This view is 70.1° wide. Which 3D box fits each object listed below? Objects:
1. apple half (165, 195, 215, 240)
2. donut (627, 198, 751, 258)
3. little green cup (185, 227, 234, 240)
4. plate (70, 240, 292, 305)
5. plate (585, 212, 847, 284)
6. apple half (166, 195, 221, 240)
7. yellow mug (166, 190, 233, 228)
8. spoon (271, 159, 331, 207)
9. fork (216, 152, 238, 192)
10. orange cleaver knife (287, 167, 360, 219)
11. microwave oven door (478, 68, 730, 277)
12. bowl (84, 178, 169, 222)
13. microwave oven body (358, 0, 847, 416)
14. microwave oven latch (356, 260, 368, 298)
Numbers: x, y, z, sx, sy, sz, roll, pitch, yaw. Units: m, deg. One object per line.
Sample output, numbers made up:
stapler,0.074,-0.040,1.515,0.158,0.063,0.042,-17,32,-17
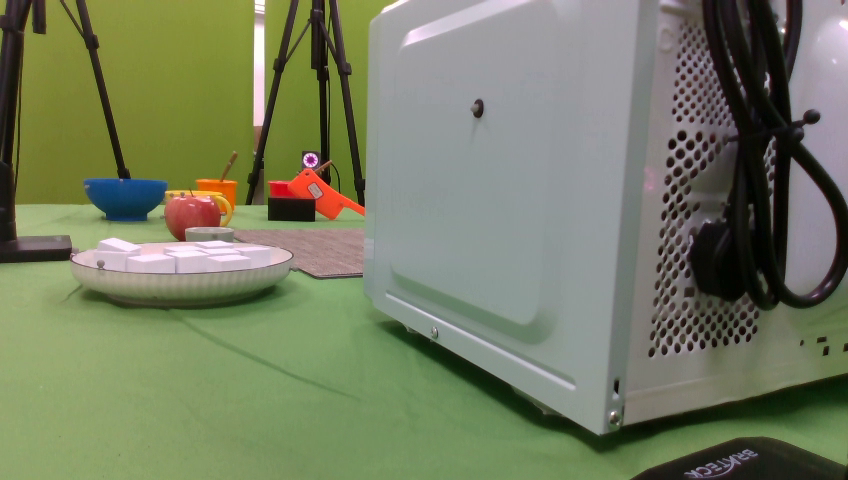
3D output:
apple half,-0.377,-0.038,0.964,0.082,0.081,0.032,-4,15,-39
donut,0.226,-0.010,0.520,0.099,0.048,0.099,4,6,0
little green cup,-0.285,0.005,0.805,0.061,0.038,0.061,2,8,0
plate,-0.242,0.031,0.618,0.208,0.039,0.207,2,8,0
plate,0.243,0.004,0.513,0.209,0.038,0.209,1,8,0
apple half,-0.351,-0.031,0.935,0.081,0.074,0.053,1,11,-40
yellow mug,-0.415,-0.057,1.132,0.130,0.064,0.100,6,8,16
spoon,-0.308,-0.142,1.514,0.193,0.021,0.041,-41,5,9
fork,-0.455,-0.132,1.367,0.028,0.018,0.207,-3,-34,-38
orange cleaver knife,-0.209,-0.089,1.383,0.212,0.077,0.012,31,3,-15
microwave oven door,0.219,-0.097,0.825,0.039,0.243,0.354,-5,11,-42
bowl,-0.584,-0.078,1.194,0.151,0.077,0.151,3,8,0
microwave oven body,0.211,-0.047,0.475,0.444,0.260,0.324,-1,7,-28
microwave oven latch,-0.020,0.033,0.529,0.079,0.029,0.030,0,7,-24
